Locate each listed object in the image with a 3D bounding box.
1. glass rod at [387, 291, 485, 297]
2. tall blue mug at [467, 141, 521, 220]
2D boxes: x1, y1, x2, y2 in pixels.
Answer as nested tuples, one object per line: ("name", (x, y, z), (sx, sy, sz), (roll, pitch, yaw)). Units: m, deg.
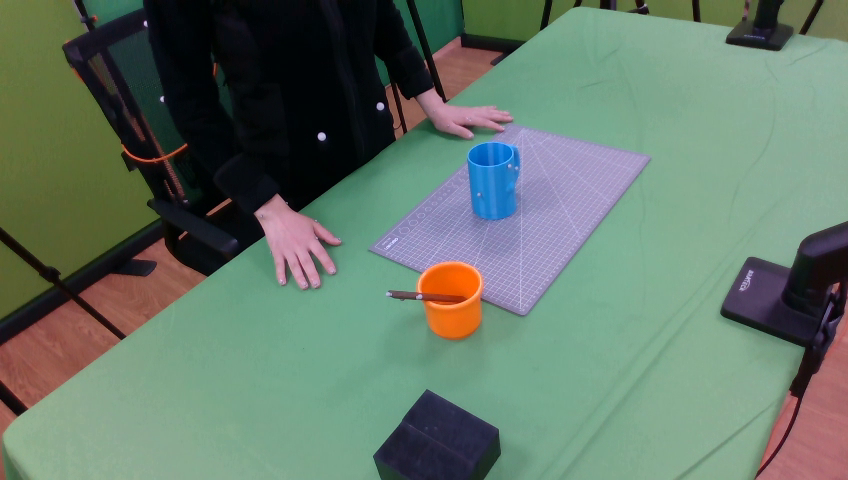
("glass rod", (0.022, 0.073, 0.808), (0.008, 0.008, 0.201), (31, 16, 38))
("tall blue mug", (0.119, -0.109, 1.020), (0.077, 0.108, 0.107), (2, 42, 15))
